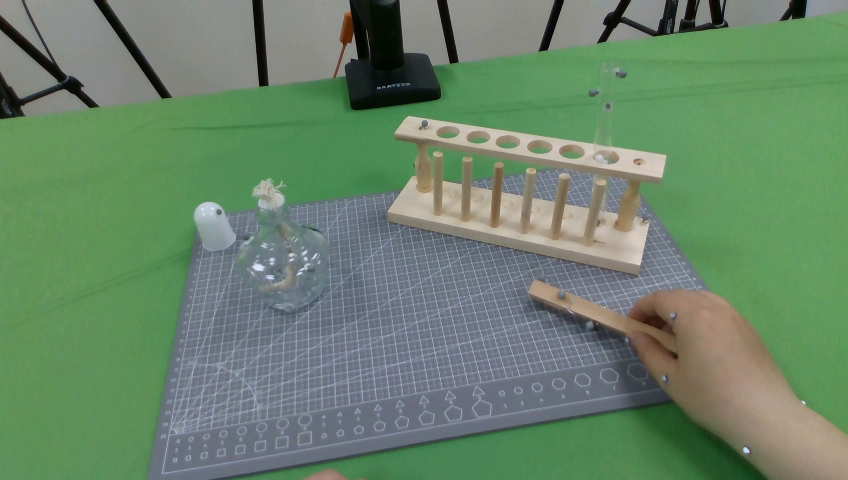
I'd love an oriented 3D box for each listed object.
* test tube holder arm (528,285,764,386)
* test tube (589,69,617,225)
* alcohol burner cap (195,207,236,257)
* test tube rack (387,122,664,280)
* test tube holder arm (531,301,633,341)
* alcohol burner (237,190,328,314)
[{"bbox_3d":[0.165,0.072,0.470,0.177,0.013,0.015,20,84,26],"label":"test tube holder arm"},{"bbox_3d":[0.153,-0.074,0.521,0.017,0.151,0.017,-5,39,5],"label":"test tube"},{"bbox_3d":[-0.203,-0.011,0.585,0.034,0.048,0.033,-1,42,1],"label":"alcohol burner cap"},{"bbox_3d":[0.085,-0.040,0.563,0.241,0.086,0.066,12,44,18],"label":"test tube rack"},{"bbox_3d":[0.129,0.060,0.494,0.087,0.010,0.015,20,85,26],"label":"test tube holder arm"},{"bbox_3d":[-0.121,0.006,0.506,0.078,0.120,0.077,-1,42,1],"label":"alcohol burner"}]
